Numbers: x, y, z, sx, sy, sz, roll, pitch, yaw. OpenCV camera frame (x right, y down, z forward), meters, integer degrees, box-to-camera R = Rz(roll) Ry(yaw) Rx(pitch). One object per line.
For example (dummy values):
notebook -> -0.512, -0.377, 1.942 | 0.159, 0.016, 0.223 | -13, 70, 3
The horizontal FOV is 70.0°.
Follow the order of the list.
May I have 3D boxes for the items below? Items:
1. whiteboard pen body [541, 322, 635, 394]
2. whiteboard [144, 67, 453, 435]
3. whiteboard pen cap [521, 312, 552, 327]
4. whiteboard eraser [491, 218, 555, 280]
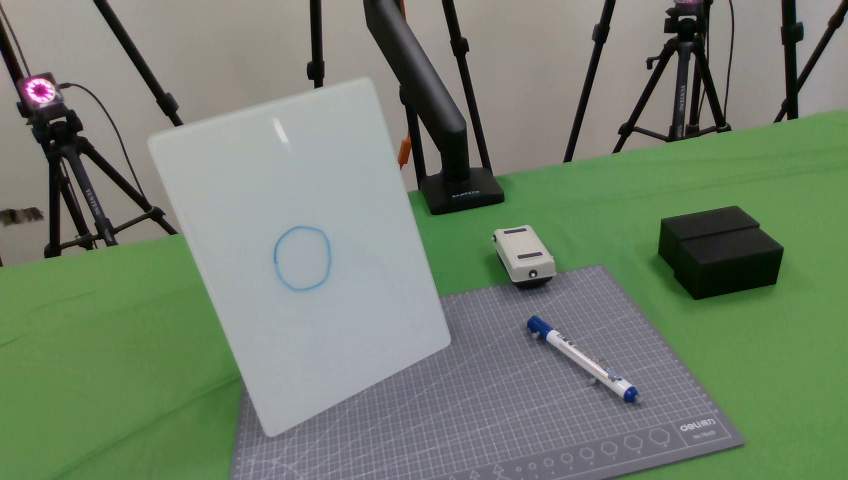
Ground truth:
whiteboard pen body -> 0.159, 0.113, 0.623 | 0.017, 0.017, 0.139 | -23, 35, -24
whiteboard -> -0.132, 0.002, 0.648 | 0.217, 0.307, 0.143 | -23, 16, -23
whiteboard pen cap -> 0.124, 0.088, 0.668 | 0.033, 0.018, 0.018 | 0, 32, 15
whiteboard eraser -> 0.124, 0.011, 0.776 | 0.055, 0.042, 0.111 | -12, 28, -3
